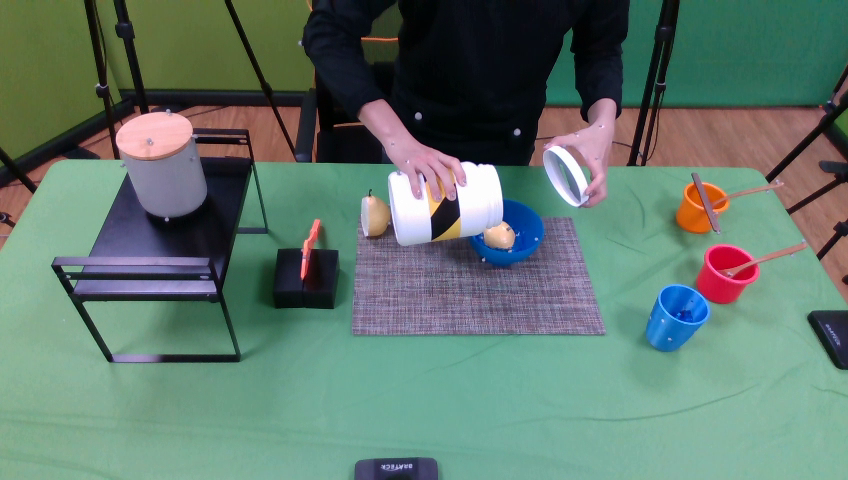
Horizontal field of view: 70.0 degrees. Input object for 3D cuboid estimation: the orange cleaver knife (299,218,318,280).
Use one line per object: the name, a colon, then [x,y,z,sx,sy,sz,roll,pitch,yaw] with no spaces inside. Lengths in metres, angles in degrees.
orange cleaver knife: [-0.214,0.013,1.125,0.012,0.077,0.210,5,17,-5]

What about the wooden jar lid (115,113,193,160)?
wooden jar lid: [-0.399,-0.151,0.900,0.108,0.021,0.107,3,46,-3]

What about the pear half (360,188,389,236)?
pear half: [-0.096,-0.060,1.181,0.056,0.110,0.076,-14,52,-17]

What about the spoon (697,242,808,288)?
spoon: [0.601,0.045,1.116,0.194,0.022,0.041,-29,34,30]

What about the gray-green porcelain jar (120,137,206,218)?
gray-green porcelain jar: [-0.403,-0.106,0.946,0.106,0.127,0.105,3,46,-2]

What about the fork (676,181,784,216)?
fork: [0.618,-0.084,1.235,0.207,0.019,0.028,-23,21,38]

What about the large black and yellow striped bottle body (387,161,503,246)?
large black and yellow striped bottle body: [0.034,-0.066,1.051,0.184,0.131,0.130,-9,47,-6]

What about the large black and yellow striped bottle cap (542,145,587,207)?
large black and yellow striped bottle cap: [0.247,-0.113,1.068,0.019,0.115,0.114,-30,53,-5]

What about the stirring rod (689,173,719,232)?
stirring rod: [0.566,-0.079,1.225,0.014,0.006,0.175,2,45,2]

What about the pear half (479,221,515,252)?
pear half: [0.145,-0.012,1.168,0.070,0.031,0.087,-21,53,-20]

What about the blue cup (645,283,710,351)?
blue cup: [0.426,0.139,1.041,0.093,0.100,0.092,4,46,-4]

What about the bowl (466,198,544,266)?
bowl: [0.149,-0.004,1.167,0.151,0.077,0.150,2,46,-2]
